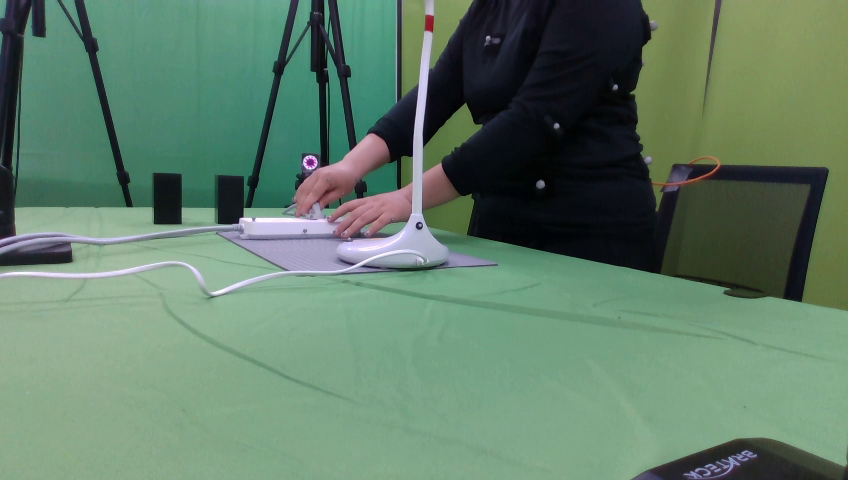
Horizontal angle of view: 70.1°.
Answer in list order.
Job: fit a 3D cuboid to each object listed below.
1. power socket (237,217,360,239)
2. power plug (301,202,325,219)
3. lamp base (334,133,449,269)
[{"bbox_3d":[-0.220,-0.023,1.080,0.228,0.032,0.072,-2,8,-32],"label":"power socket"},{"bbox_3d":[-0.206,-0.044,1.121,0.035,0.052,0.072,0,2,-20],"label":"power plug"},{"bbox_3d":[-0.034,-0.057,0.830,0.161,0.180,0.178,-3,12,-36],"label":"lamp base"}]
